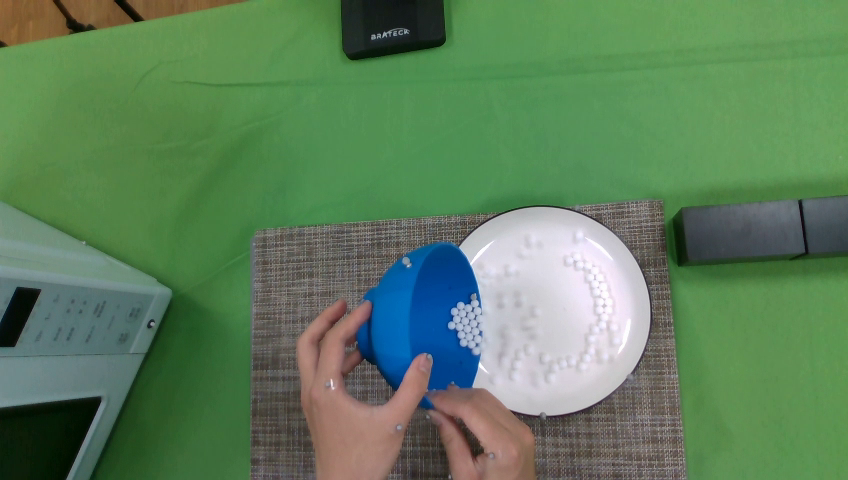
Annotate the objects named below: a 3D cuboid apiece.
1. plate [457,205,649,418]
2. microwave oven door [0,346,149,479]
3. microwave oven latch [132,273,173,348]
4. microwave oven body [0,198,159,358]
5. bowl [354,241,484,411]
[{"bbox_3d":[0.114,0.070,0.607,0.207,0.039,0.207,-2,81,12],"label":"plate"},{"bbox_3d":[-0.425,0.264,0.574,0.039,0.245,0.355,23,87,16],"label":"microwave oven door"},{"bbox_3d":[-0.313,0.080,0.683,0.030,0.029,0.079,25,88,14],"label":"microwave oven latch"},{"bbox_3d":[-0.537,0.172,0.617,0.324,0.261,0.441,23,87,14],"label":"microwave oven body"},{"bbox_3d":[-0.011,0.077,0.553,0.076,0.152,0.151,-3,80,28],"label":"bowl"}]
